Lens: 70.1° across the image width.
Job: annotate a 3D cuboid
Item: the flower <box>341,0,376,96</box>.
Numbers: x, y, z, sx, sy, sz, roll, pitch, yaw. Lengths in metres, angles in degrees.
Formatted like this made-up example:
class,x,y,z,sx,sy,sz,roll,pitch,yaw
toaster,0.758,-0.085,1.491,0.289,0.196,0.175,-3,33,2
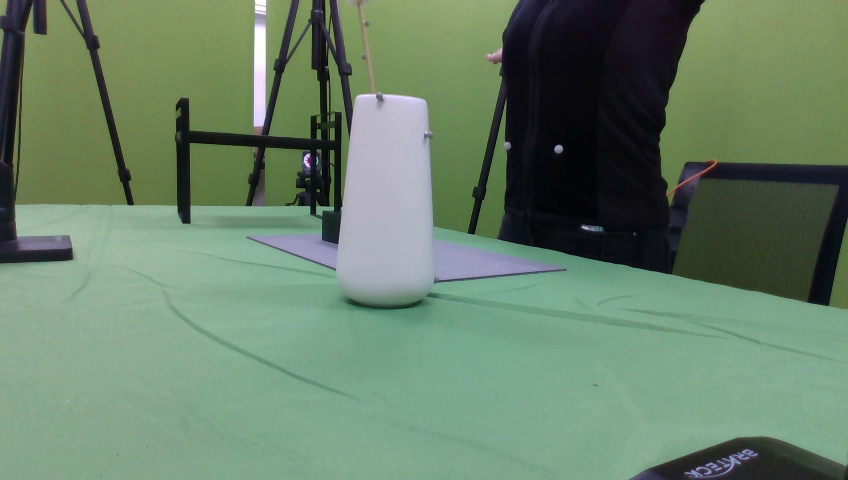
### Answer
class,x,y,z,sx,sy,sz,roll,pitch,yaw
flower,-0.047,-0.119,0.591,0.044,0.361,0.038,-8,-7,-22

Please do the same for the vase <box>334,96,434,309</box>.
class,x,y,z,sx,sy,sz,roll,pitch,yaw
vase,-0.038,-0.036,0.590,0.098,0.200,0.098,1,8,0
